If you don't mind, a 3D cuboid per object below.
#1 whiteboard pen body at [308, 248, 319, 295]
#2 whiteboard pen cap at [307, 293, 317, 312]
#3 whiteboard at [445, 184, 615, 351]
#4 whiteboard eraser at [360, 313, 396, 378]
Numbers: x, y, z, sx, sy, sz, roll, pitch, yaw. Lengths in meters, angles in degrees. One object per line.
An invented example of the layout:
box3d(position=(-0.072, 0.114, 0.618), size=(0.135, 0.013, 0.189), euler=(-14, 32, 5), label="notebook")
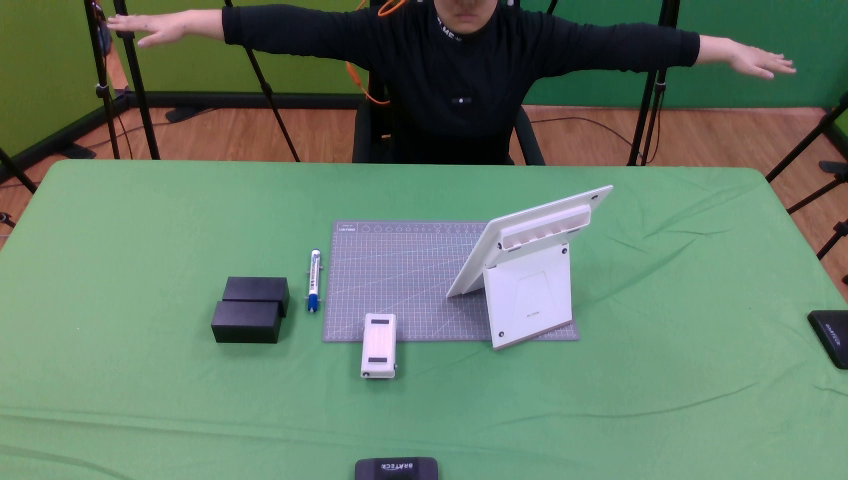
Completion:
box3d(position=(-0.204, 0.069, 1.119), size=(0.017, 0.017, 0.140), euler=(-1, 46, -5), label="whiteboard pen body")
box3d(position=(-0.199, 0.110, 1.078), size=(0.018, 0.018, 0.033), euler=(-1, 48, -5), label="whiteboard pen cap")
box3d(position=(0.186, 0.065, 0.989), size=(0.217, 0.306, 0.143), euler=(-15, 68, -18), label="whiteboard")
box3d(position=(-0.075, 0.176, 1.006), size=(0.055, 0.042, 0.112), euler=(3, 50, -4), label="whiteboard eraser")
